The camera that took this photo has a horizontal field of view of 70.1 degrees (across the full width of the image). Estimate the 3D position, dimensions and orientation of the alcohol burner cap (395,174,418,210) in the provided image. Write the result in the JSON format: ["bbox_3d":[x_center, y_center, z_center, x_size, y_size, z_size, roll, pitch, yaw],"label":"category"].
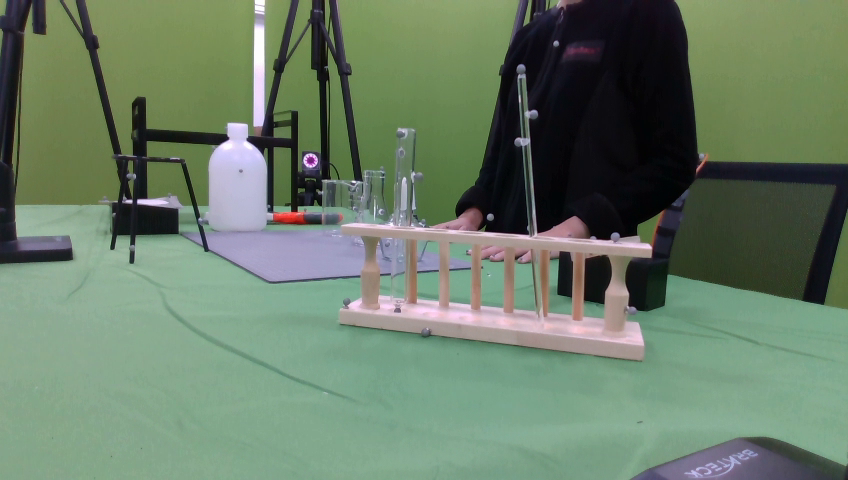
[{"bbox_3d":[-0.026,-0.067,0.834,0.034,0.048,0.034,-2,12,1],"label":"alcohol burner cap"}]

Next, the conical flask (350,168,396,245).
[{"bbox_3d":[-0.082,-0.055,0.975,0.075,0.122,0.075,2,8,0],"label":"conical flask"}]

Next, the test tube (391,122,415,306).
[{"bbox_3d":[-0.017,-0.019,0.488,0.017,0.150,0.017,2,11,0],"label":"test tube"}]

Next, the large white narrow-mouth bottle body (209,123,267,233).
[{"bbox_3d":[-0.340,-0.115,1.109,0.102,0.194,0.102,2,8,0],"label":"large white narrow-mouth bottle body"}]

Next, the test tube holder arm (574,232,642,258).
[{"bbox_3d":[0.202,0.003,0.651,0.013,0.015,0.179,-4,2,36],"label":"test tube holder arm"}]

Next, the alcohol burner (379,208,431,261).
[{"bbox_3d":[-0.027,-0.031,0.838,0.078,0.119,0.078,0,6,0],"label":"alcohol burner"}]

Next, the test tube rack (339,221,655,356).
[{"bbox_3d":[0.056,0.032,0.495,0.242,0.085,0.067,4,7,15],"label":"test tube rack"}]

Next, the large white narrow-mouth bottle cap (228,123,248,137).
[{"bbox_3d":[-0.338,-0.199,1.097,0.038,0.024,0.037,2,8,0],"label":"large white narrow-mouth bottle cap"}]

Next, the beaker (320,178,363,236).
[{"bbox_3d":[-0.145,-0.059,1.079,0.074,0.100,0.083,-4,10,-36],"label":"beaker"}]

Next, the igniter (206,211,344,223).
[{"bbox_3d":[-0.302,-0.048,1.249,0.278,0.025,0.057,-2,-2,-26],"label":"igniter"}]

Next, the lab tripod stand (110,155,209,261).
[{"bbox_3d":[-0.361,-0.046,0.806,0.148,0.131,0.148,2,5,0],"label":"lab tripod stand"}]

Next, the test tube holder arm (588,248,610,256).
[{"bbox_3d":[0.180,0.006,0.611,0.010,0.015,0.088,-4,2,36],"label":"test tube holder arm"}]

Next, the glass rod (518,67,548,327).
[{"bbox_3d":[0.084,-0.029,0.460,0.008,0.199,0.008,-7,11,2],"label":"glass rod"}]

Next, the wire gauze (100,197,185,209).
[{"bbox_3d":[-0.469,-0.062,1.008,0.126,0.011,0.121,-2,8,-25],"label":"wire gauze"}]
